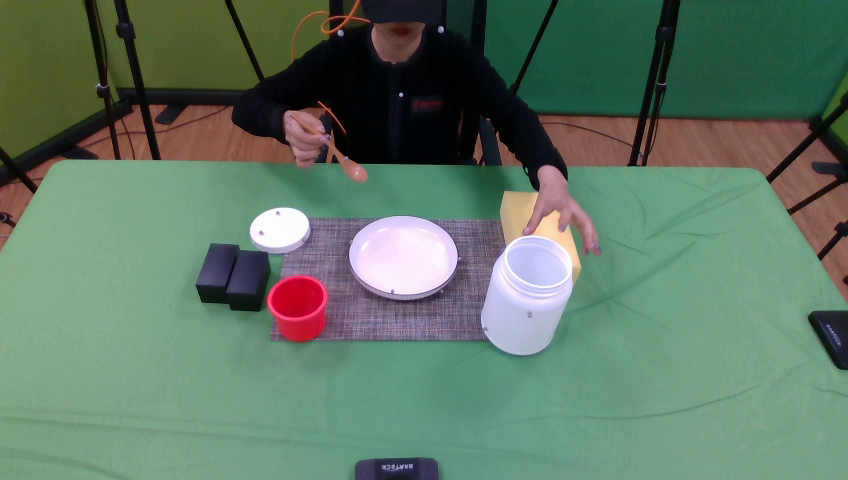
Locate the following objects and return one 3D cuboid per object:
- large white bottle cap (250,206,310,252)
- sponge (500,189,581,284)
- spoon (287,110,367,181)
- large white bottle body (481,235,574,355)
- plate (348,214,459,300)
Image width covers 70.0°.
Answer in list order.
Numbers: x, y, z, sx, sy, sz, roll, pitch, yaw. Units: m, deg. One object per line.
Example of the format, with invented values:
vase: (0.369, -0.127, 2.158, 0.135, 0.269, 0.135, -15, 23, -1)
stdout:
large white bottle cap: (-0.284, -0.023, 1.198, 0.115, 0.018, 0.114, 1, 46, 0)
sponge: (0.224, -0.007, 1.192, 0.118, 0.061, 0.205, 1, 47, -6)
spoon: (-0.175, -0.173, 1.108, 0.021, 0.195, 0.041, -19, 43, 32)
large white bottle body: (0.172, 0.091, 1.006, 0.131, 0.185, 0.130, 3, 48, -3)
plate: (-0.040, 0.034, 1.146, 0.209, 0.038, 0.208, 2, 47, -2)
